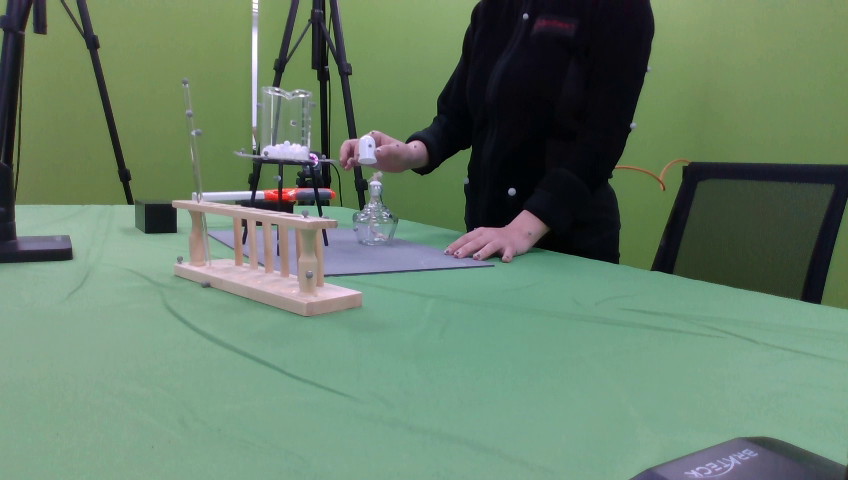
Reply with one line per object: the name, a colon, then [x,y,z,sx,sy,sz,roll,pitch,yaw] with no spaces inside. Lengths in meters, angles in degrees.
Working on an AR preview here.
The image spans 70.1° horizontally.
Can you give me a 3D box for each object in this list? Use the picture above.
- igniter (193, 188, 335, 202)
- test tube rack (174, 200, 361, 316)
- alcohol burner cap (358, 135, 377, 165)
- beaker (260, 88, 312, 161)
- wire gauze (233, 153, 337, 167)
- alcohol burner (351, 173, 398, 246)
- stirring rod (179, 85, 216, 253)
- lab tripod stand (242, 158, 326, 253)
igniter: [-0.312,-0.089,1.209,0.278,0.025,0.057,-5,13,-31]
test tube rack: [-0.169,0.009,0.622,0.241,0.085,0.067,9,9,41]
alcohol burner cap: [-0.094,-0.152,1.005,0.034,0.048,0.034,-2,-11,0]
beaker: [-0.200,-0.166,0.876,0.074,0.100,0.083,1,7,-18]
wire gauze: [-0.205,-0.119,0.887,0.122,0.011,0.124,2,4,-32]
alcohol burner: [-0.081,-0.051,0.995,0.078,0.119,0.078,1,6,0]
stirring rod: [-0.237,-0.073,0.634,0.006,0.176,0.014,0,10,42]
lab tripod stand: [-0.207,-0.054,0.895,0.148,0.131,0.148,3,5,0]
